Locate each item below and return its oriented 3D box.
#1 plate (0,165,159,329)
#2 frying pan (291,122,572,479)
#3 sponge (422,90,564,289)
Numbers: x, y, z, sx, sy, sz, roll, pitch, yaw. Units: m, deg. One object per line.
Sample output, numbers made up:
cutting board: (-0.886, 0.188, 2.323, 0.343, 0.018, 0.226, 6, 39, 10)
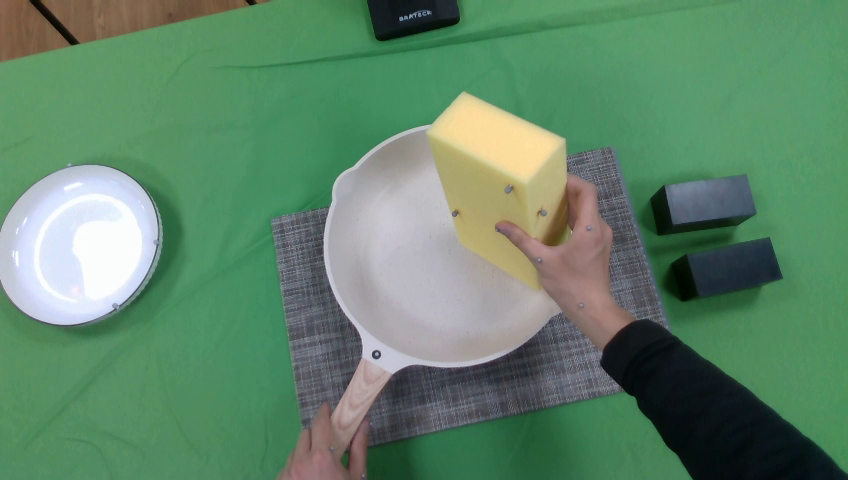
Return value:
plate: (-0.432, 0.009, 0.762, 0.207, 0.039, 0.206, 0, 76, 2)
frying pan: (-0.026, 0.087, 0.691, 0.306, 0.103, 0.486, 28, 71, 9)
sponge: (0.080, -0.045, 0.633, 0.117, 0.209, 0.061, 31, 70, 28)
